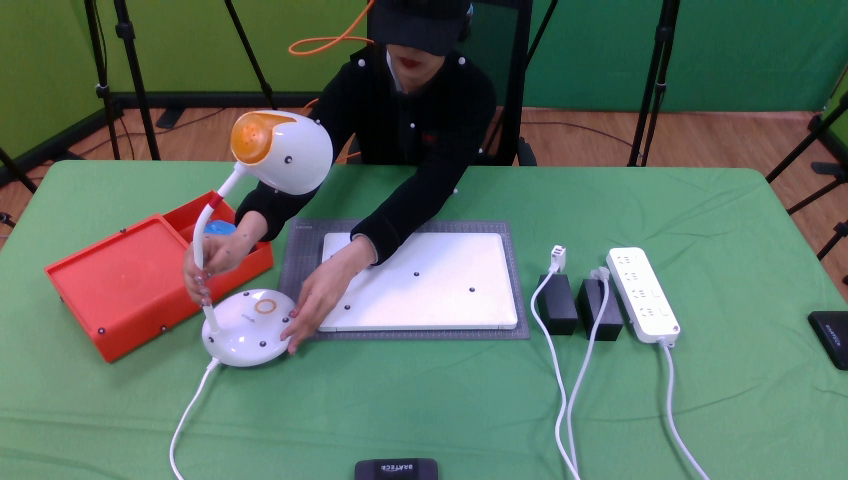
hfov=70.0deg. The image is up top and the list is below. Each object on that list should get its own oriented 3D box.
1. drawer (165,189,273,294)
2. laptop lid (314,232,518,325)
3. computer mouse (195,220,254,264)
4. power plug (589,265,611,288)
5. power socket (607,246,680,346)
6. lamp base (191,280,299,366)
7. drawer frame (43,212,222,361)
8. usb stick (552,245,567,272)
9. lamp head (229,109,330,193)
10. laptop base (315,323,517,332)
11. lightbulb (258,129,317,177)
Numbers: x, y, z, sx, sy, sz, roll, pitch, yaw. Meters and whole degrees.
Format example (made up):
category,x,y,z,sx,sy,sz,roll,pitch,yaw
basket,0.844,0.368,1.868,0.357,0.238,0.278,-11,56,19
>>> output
category,x,y,z,sx,sy,sz,roll,pitch,yaw
drawer,-0.419,0.022,1.108,0.193,0.073,0.211,38,55,27
laptop lid,-0.016,0.065,1.118,0.357,0.013,0.240,1,43,-3
computer mouse,-0.380,-0.002,1.152,0.116,0.041,0.062,28,52,28
power plug,0.318,0.073,1.108,0.035,0.053,0.072,26,33,12
power socket,0.403,0.096,1.123,0.072,0.033,0.225,-2,46,-5
lamp base,-0.296,0.095,0.959,0.160,0.181,0.178,18,49,18
drawer frame,-0.497,0.073,1.049,0.213,0.083,0.200,-34,57,-31
usb stick,0.251,0.039,1.124,0.021,0.059,0.027,14,48,25
lamp head,-0.205,-0.123,0.809,0.112,0.112,0.123,29,11,23
laptop base,-0.016,0.075,1.125,0.355,0.023,0.234,0,42,-4
lightbulb,-0.189,-0.123,0.829,0.059,0.108,0.059,-5,77,22
